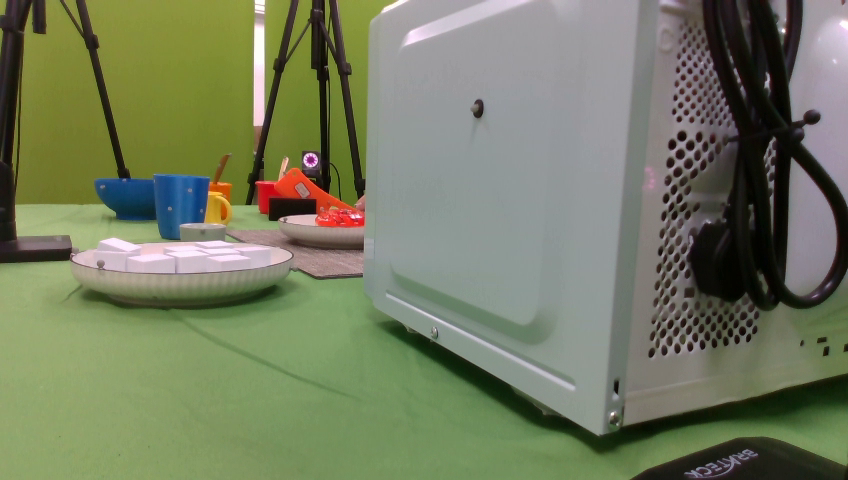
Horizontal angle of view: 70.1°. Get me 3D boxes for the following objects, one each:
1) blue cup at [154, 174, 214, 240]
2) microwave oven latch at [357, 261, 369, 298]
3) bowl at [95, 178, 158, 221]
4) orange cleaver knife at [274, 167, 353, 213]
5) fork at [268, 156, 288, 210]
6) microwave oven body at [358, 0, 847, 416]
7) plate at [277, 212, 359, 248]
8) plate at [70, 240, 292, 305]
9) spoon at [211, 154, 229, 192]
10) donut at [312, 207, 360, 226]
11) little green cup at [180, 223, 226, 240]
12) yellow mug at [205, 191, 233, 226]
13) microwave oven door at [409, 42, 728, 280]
[{"bbox_3d":[-0.391,-0.053,0.978,0.093,0.100,0.092,4,6,0],"label":"blue cup"},{"bbox_3d":[-0.019,0.033,0.530,0.079,0.029,0.030,-1,7,-26],"label":"microwave oven latch"},{"bbox_3d":[-0.576,-0.081,1.217,0.151,0.077,0.151,3,8,0],"label":"bowl"},{"bbox_3d":[-0.238,-0.091,1.381,0.212,0.077,0.012,31,0,-19],"label":"orange cleaver knife"},{"bbox_3d":[-0.360,-0.144,1.508,0.028,0.018,0.207,1,49,0],"label":"fork"},{"bbox_3d":[0.211,-0.047,0.474,0.444,0.260,0.324,-1,7,-28],"label":"microwave oven body"},{"bbox_3d":[-0.135,-0.017,0.992,0.209,0.038,0.209,3,8,0],"label":"plate"},{"bbox_3d":[-0.242,0.031,0.618,0.208,0.039,0.207,2,8,0],"label":"plate"},{"bbox_3d":[-0.431,-0.115,1.253,0.042,0.193,0.021,-3,54,-33],"label":"spoon"},{"bbox_3d":[-0.135,-0.029,0.996,0.099,0.048,0.099,3,10,0],"label":"donut"},{"bbox_3d":[-0.309,-0.001,0.846,0.061,0.038,0.061,2,8,0],"label":"little green cup"},{"bbox_3d":[-0.415,-0.057,1.132,0.130,0.064,0.100,6,8,16],"label":"yellow mug"},{"bbox_3d":[0.165,-0.078,0.664,0.357,0.243,0.039,1,8,-13],"label":"microwave oven door"}]
